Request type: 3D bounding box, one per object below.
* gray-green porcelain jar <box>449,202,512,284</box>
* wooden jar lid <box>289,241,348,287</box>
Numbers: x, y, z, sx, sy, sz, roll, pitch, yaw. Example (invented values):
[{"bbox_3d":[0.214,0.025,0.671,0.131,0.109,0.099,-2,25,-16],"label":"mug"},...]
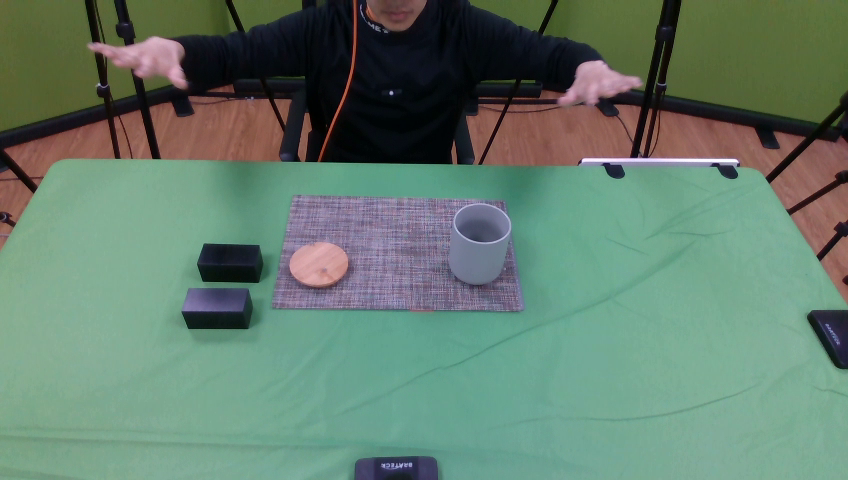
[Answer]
[{"bbox_3d":[0.100,0.010,1.116,0.106,0.127,0.105,2,47,-2],"label":"gray-green porcelain jar"},{"bbox_3d":[-0.197,0.047,1.133,0.108,0.021,0.107,2,45,-2],"label":"wooden jar lid"}]
